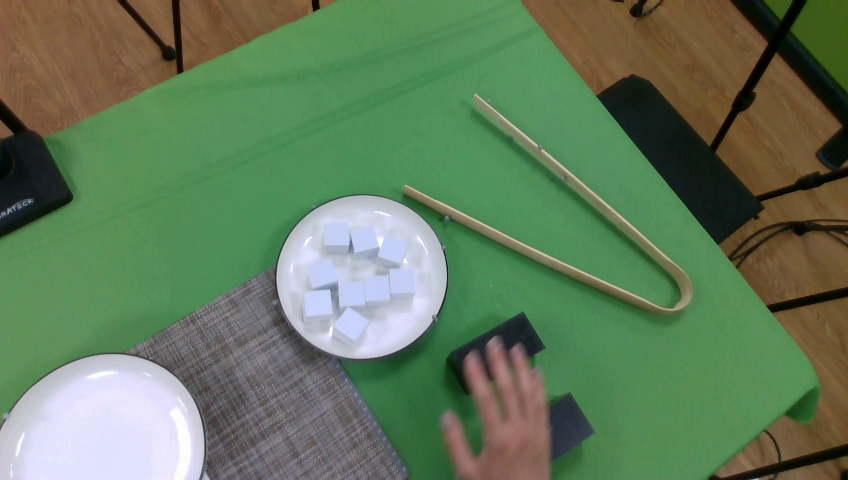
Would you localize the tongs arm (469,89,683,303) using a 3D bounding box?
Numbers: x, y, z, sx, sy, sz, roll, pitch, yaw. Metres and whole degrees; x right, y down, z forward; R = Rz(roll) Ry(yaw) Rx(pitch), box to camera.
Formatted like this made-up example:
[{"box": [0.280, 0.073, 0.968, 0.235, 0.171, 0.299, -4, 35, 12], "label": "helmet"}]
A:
[{"box": [0.192, -0.061, 0.804, 0.384, 0.026, 0.050, 41, 73, 6], "label": "tongs arm"}]

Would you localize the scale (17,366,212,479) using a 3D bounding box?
[{"box": [-0.321, 0.250, 0.645, 0.149, 0.032, 0.200, -31, 78, -15], "label": "scale"}]

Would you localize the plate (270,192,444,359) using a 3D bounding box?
[{"box": [-0.080, 0.043, 0.740, 0.208, 0.039, 0.206, 2, 71, -5], "label": "plate"}]

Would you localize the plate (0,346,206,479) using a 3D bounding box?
[{"box": [-0.330, 0.214, 0.621, 0.209, 0.038, 0.207, 2, 71, -6], "label": "plate"}]

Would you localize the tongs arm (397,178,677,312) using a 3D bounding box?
[{"box": [0.140, 0.007, 0.780, 0.387, 0.028, 0.028, 26, 68, 2], "label": "tongs arm"}]
